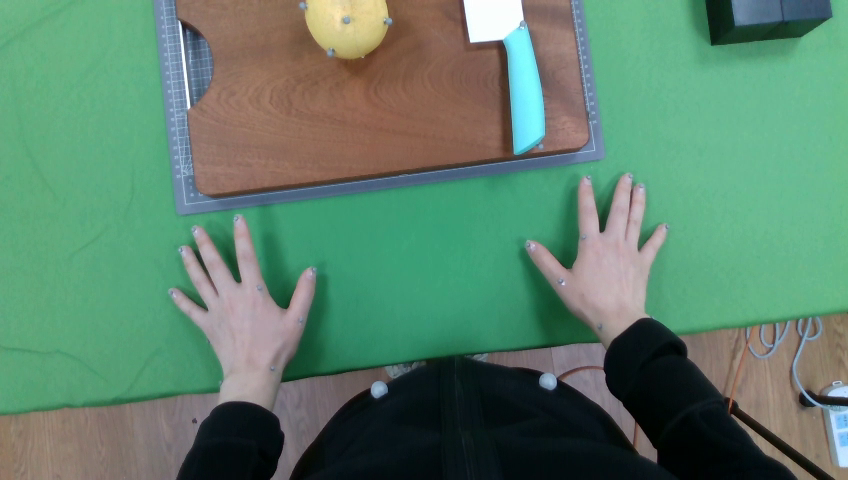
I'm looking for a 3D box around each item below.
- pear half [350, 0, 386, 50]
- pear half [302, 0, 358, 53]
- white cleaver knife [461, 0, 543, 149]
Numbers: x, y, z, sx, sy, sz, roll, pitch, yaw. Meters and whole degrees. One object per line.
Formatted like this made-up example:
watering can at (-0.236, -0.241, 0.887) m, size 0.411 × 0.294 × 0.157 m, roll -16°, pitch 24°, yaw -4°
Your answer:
pear half at (-0.052, -0.219, 0.571) m, size 0.031 × 0.088 × 0.070 m, roll -4°, pitch 81°, yaw -2°
pear half at (-0.087, -0.219, 0.560) m, size 0.056 × 0.110 × 0.076 m, roll -5°, pitch 82°, yaw -1°
white cleaver knife at (0.072, -0.230, 0.613) m, size 0.066 × 0.021 × 0.285 m, roll -8°, pitch 82°, yaw 3°
